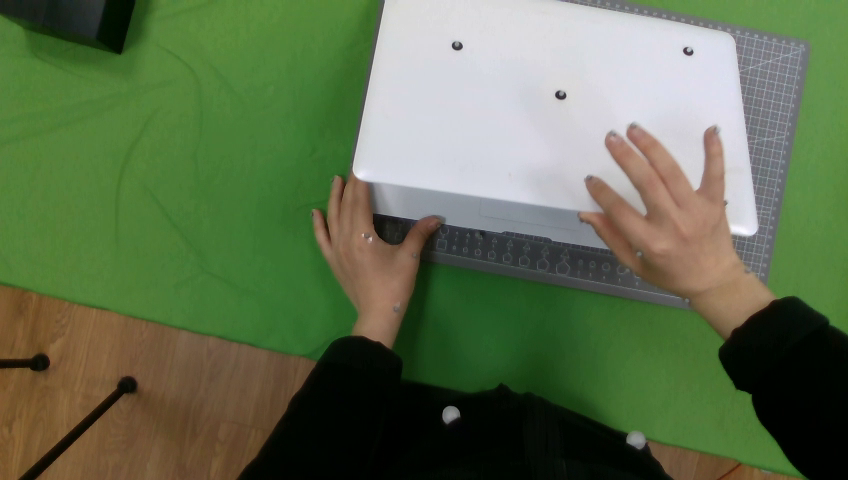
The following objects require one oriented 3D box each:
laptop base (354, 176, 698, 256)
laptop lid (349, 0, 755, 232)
[{"bbox_3d":[0.119,-0.123,0.617,0.355,0.023,0.235,8,94,-3],"label":"laptop base"},{"bbox_3d":[0.122,-0.134,0.555,0.357,0.013,0.240,10,65,-2],"label":"laptop lid"}]
